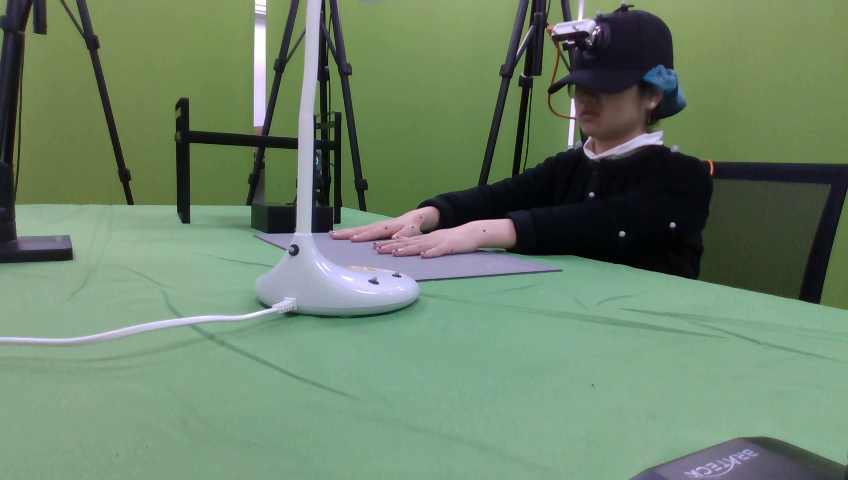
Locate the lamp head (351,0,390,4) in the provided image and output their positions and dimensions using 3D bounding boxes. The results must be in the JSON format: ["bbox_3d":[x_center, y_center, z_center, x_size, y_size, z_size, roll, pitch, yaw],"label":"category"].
[{"bbox_3d":[-0.053,-0.313,0.597,0.112,0.112,0.123,6,-28,25],"label":"lamp head"}]

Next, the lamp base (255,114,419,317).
[{"bbox_3d":[-0.086,-0.027,0.577,0.160,0.180,0.179,4,10,16],"label":"lamp base"}]
